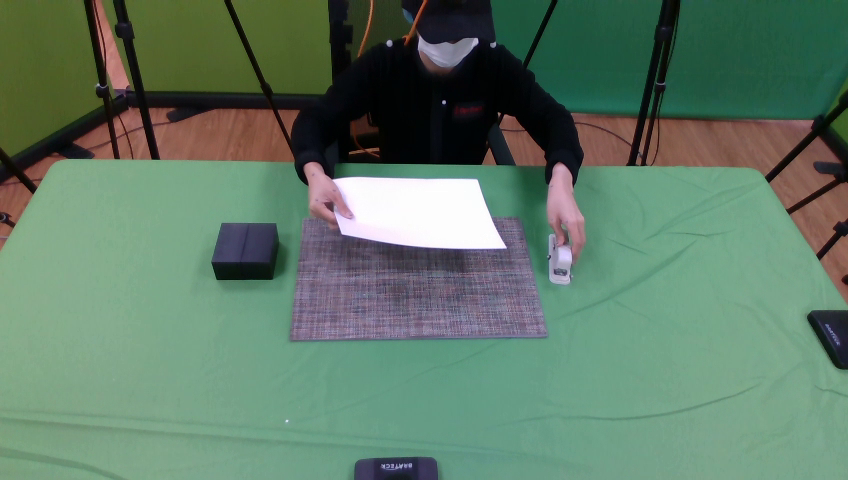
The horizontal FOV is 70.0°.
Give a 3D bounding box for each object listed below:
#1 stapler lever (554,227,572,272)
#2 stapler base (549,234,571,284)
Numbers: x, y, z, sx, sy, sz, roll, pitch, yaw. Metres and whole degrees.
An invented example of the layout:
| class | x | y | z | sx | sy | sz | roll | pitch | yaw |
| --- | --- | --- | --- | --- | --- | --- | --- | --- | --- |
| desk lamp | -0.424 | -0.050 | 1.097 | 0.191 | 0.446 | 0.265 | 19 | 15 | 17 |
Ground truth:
| class | x | y | z | sx | sy | sz | roll | pitch | yaw |
| --- | --- | --- | --- | --- | --- | --- | --- | --- | --- |
| stapler lever | 0.268 | 0.012 | 1.172 | 0.027 | 0.040 | 0.117 | 8 | 45 | 3 |
| stapler base | 0.268 | 0.030 | 1.188 | 0.041 | 0.024 | 0.130 | 8 | 44 | 2 |
